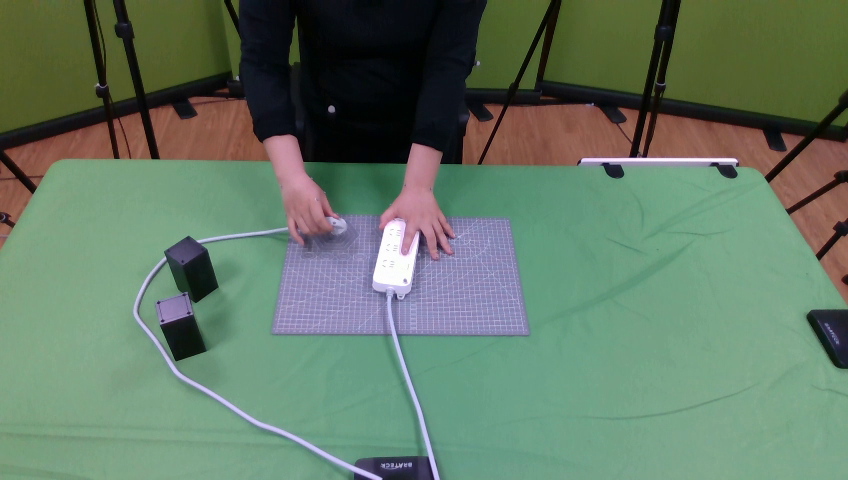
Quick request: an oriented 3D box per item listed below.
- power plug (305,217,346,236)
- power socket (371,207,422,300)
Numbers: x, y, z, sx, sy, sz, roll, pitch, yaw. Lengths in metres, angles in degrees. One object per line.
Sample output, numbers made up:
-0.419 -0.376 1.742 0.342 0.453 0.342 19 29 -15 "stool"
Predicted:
-0.186 -0.030 1.170 0.072 0.053 0.035 14 70 13 "power plug"
-0.051 0.018 1.165 0.072 0.033 0.225 7 46 4 "power socket"
